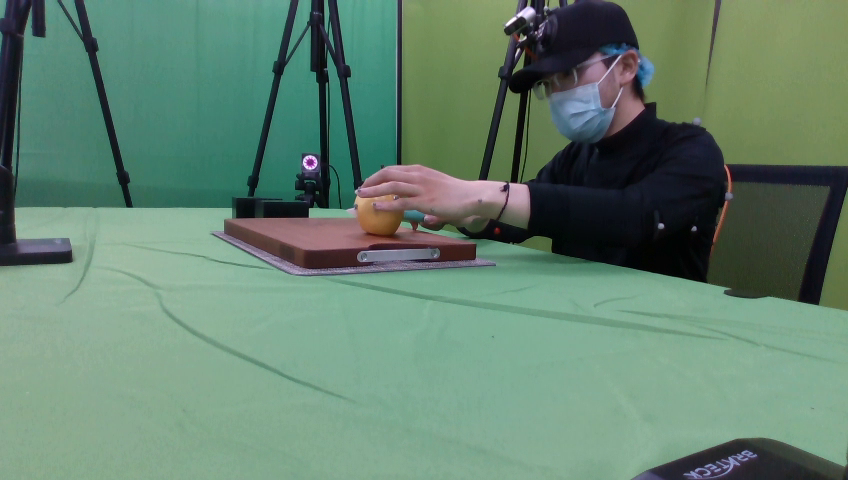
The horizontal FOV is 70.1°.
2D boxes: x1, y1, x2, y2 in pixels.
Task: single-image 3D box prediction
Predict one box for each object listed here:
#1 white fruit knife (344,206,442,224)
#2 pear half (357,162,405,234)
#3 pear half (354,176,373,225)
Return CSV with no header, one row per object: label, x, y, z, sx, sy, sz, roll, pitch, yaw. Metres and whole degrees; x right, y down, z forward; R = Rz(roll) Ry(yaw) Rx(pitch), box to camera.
white fruit knife,-0.045,-0.044,0.981,0.208,0.027,0.016,1,8,-45
pear half,-0.060,-0.064,0.928,0.055,0.110,0.077,10,14,42
pear half,-0.087,-0.057,0.957,0.031,0.088,0.071,2,10,42
